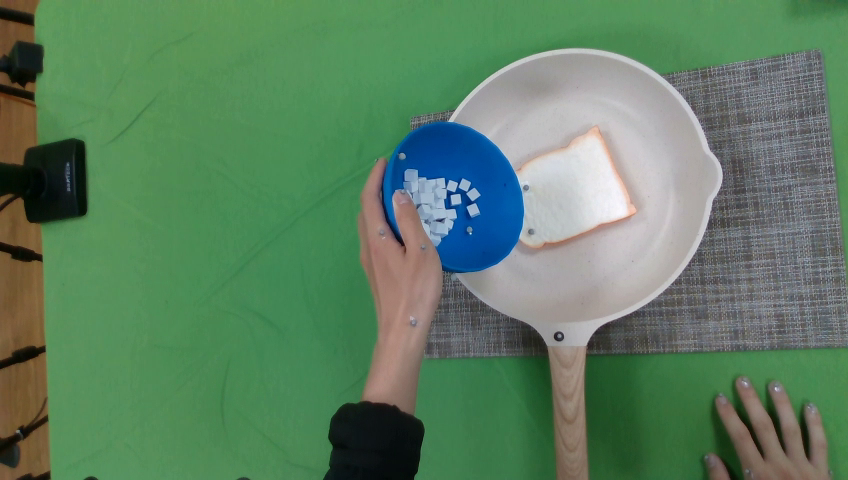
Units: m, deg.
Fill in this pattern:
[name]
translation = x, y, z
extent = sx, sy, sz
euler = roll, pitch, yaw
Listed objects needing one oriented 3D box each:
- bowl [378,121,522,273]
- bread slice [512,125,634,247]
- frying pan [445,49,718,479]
[bowl]
translation = 0.014, -0.033, 0.599
extent = 0.077, 0.152, 0.151
euler = -28, 75, 57
[bread slice]
translation = 0.154, -0.050, 0.682
extent = 0.134, 0.018, 0.106
euler = -27, 79, 13
[frying pan]
translation = 0.145, 0.048, 0.638
extent = 0.306, 0.103, 0.485
euler = -2, 78, 20
